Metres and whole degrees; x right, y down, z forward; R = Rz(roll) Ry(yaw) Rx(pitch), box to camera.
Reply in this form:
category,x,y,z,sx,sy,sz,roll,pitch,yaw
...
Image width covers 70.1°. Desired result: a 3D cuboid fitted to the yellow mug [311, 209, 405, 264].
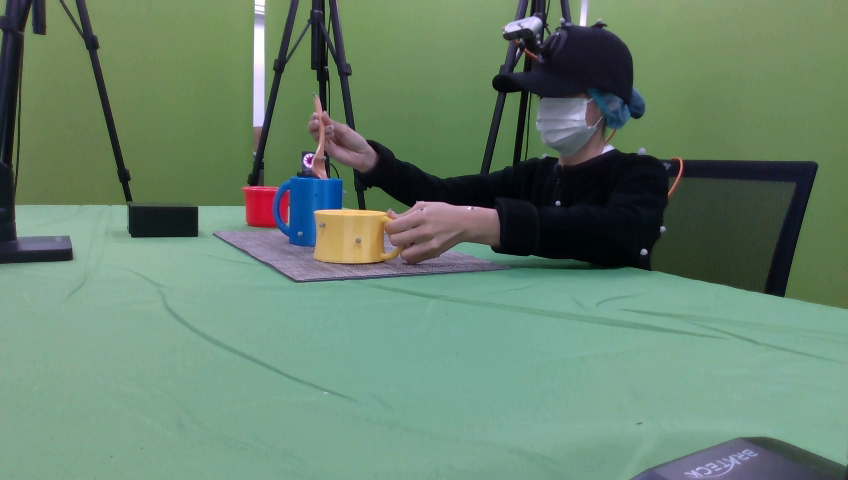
category,x,y,z,sx,sy,sz,roll,pitch,yaw
yellow mug,-0.087,-0.005,0.817,0.130,0.064,0.100,5,7,18

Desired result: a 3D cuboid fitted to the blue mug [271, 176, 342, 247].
category,x,y,z,sx,sy,sz,roll,pitch,yaw
blue mug,-0.190,-0.047,0.963,0.116,0.106,0.082,4,7,13

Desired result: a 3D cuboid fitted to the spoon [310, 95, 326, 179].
category,x,y,z,sx,sy,sz,roll,pitch,yaw
spoon,-0.172,-0.167,0.997,0.021,0.193,0.042,-19,-34,22
